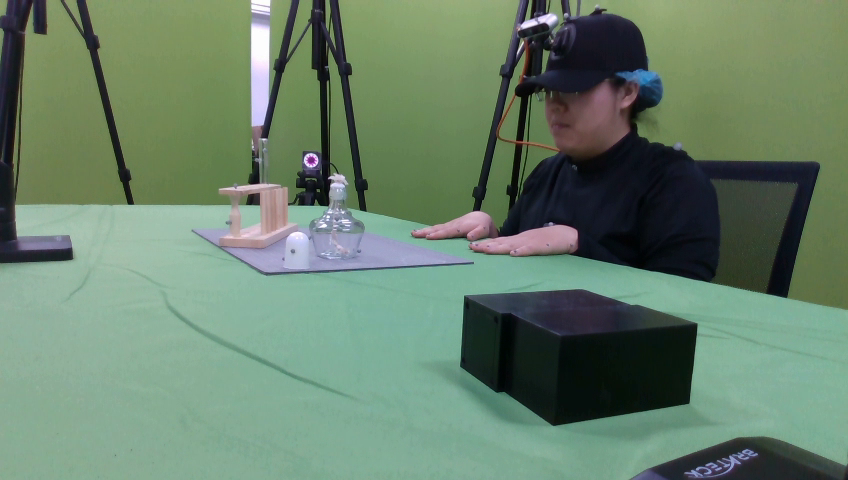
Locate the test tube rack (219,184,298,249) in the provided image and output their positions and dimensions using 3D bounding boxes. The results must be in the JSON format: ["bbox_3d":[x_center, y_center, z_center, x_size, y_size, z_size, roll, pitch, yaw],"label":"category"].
[{"bbox_3d":[-0.266,-0.046,1.002,0.067,0.085,0.242,3,7,0],"label":"test tube rack"}]

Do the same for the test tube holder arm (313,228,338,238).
[{"bbox_3d":[-0.177,-0.016,1.094,0.015,0.010,0.088,9,13,11],"label":"test tube holder arm"}]

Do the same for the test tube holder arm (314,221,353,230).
[{"bbox_3d":[-0.167,-0.027,1.136,0.015,0.013,0.179,10,7,11],"label":"test tube holder arm"}]

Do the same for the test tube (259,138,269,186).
[{"bbox_3d":[-0.281,-0.104,1.064,0.017,0.150,0.017,2,12,0],"label":"test tube"}]

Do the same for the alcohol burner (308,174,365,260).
[{"bbox_3d":[-0.121,-0.033,0.841,0.078,0.119,0.078,3,5,0],"label":"alcohol burner"}]

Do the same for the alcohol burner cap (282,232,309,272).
[{"bbox_3d":[-0.157,0.014,0.740,0.034,0.048,0.034,2,6,0],"label":"alcohol burner cap"}]
